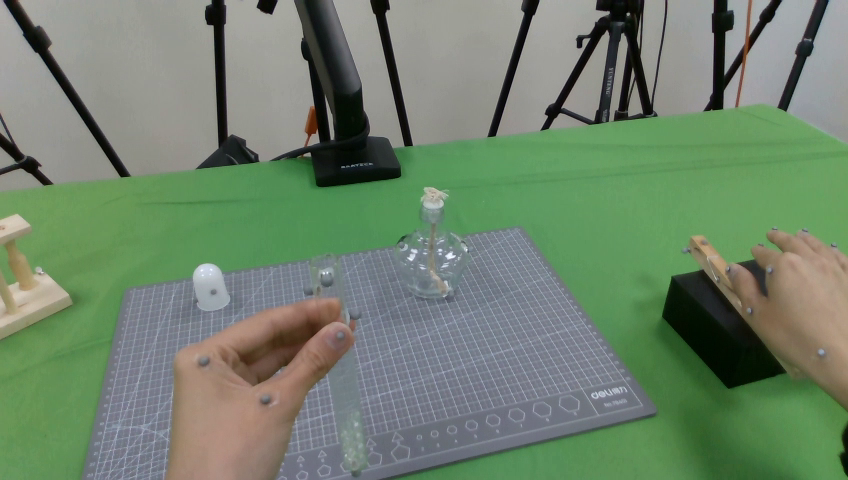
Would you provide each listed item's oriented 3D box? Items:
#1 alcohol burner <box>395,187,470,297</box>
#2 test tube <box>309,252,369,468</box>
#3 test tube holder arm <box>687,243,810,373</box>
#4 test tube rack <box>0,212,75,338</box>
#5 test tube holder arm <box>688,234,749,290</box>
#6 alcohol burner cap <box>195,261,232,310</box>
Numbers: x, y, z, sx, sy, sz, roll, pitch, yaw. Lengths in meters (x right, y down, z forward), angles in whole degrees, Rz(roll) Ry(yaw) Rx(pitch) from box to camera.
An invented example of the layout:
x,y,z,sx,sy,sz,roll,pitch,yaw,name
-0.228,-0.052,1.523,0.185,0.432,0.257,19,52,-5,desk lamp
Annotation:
x,y,z,sx,sy,sz,roll,pitch,yaw,name
0.009,-0.002,0.612,0.078,0.120,0.077,1,34,0,alcohol burner
-0.045,0.073,0.338,0.017,0.151,0.017,-3,30,2,test tube
0.278,0.051,0.533,0.015,0.013,0.176,-3,34,-5,test tube holder arm
-0.465,0.069,0.547,0.066,0.086,0.242,26,42,33,test tube rack
0.274,0.022,0.567,0.015,0.010,0.087,-3,35,-5,test tube holder arm
-0.215,0.044,0.612,0.034,0.048,0.033,-1,34,1,alcohol burner cap
